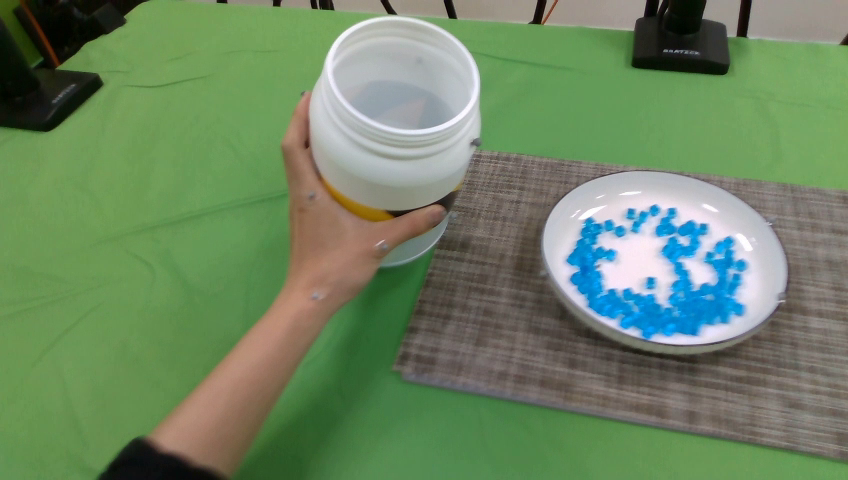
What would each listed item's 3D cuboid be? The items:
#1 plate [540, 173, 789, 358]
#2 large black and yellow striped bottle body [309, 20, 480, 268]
[{"bbox_3d":[0.208,0.020,0.543,0.207,0.039,0.205,-2,47,3],"label":"plate"},{"bbox_3d":[-0.028,-0.071,0.498,0.131,0.185,0.129,5,61,-8],"label":"large black and yellow striped bottle body"}]
